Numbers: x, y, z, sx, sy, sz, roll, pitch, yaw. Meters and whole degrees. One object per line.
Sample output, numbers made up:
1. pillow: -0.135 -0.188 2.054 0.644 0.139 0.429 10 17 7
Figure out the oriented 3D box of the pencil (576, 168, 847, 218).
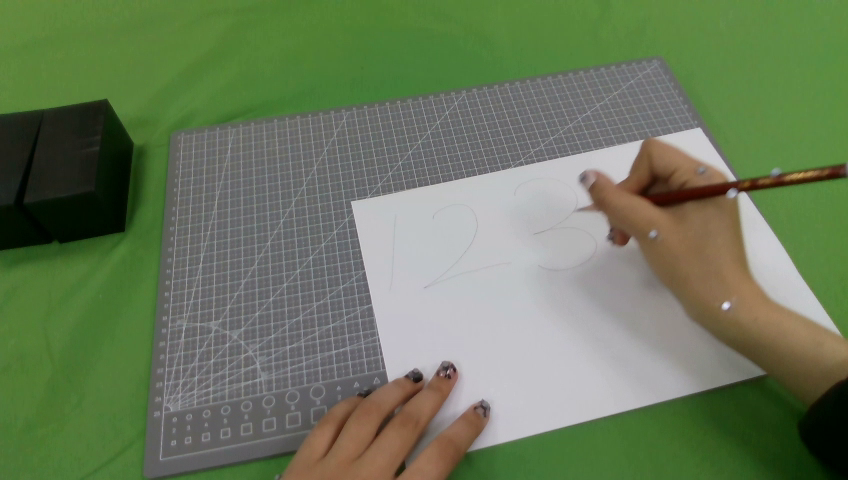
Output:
1. pencil: 0.166 -0.026 0.348 0.193 0.012 0.012 -9 38 51
